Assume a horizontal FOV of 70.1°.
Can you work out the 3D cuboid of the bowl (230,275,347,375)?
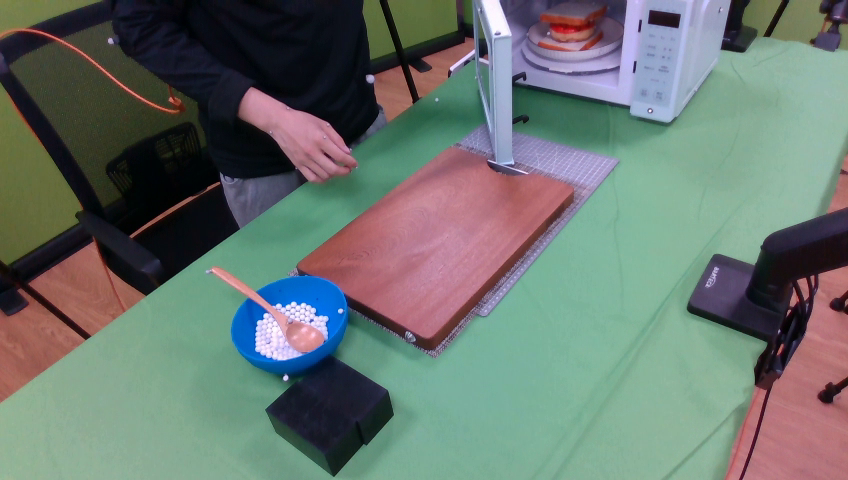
[{"bbox_3d":[-0.171,0.125,0.802,0.151,0.077,0.150,-4,40,4],"label":"bowl"}]

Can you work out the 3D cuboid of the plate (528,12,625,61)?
[{"bbox_3d":[0.334,-0.447,1.330,0.207,0.039,0.206,-6,43,6],"label":"plate"}]

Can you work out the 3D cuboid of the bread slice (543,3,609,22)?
[{"bbox_3d":[0.327,-0.483,1.279,0.106,0.018,0.135,20,36,30],"label":"bread slice"}]

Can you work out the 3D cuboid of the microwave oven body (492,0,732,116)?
[{"bbox_3d":[0.377,-0.462,1.267,0.438,0.261,0.327,21,48,30],"label":"microwave oven body"}]

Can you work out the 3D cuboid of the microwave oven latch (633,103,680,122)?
[{"bbox_3d":[0.443,-0.249,1.157,0.078,0.029,0.030,21,48,30],"label":"microwave oven latch"}]

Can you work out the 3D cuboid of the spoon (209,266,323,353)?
[{"bbox_3d":[-0.213,0.088,0.806,0.193,0.021,0.042,37,56,11],"label":"spoon"}]

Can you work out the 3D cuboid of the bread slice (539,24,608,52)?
[{"bbox_3d":[0.336,-0.449,1.335,0.132,0.019,0.104,-25,43,-19],"label":"bread slice"}]

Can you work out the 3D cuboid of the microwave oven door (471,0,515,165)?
[{"bbox_3d":[0.127,-0.340,1.153,0.039,0.245,0.354,-6,40,2],"label":"microwave oven door"}]

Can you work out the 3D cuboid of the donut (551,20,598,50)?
[{"bbox_3d":[0.321,-0.442,1.294,0.099,0.048,0.098,-2,44,3],"label":"donut"}]
